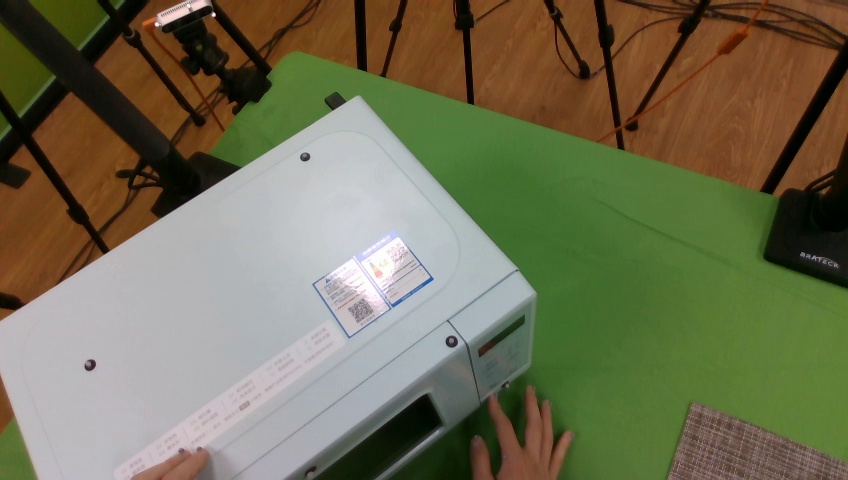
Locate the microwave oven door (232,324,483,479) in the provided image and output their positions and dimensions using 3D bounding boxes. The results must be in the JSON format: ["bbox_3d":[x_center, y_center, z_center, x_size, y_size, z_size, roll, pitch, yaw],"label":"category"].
[{"bbox_3d":[-0.099,0.228,0.592,0.356,0.246,0.039,-35,63,-10],"label":"microwave oven door"}]

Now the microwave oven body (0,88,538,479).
[{"bbox_3d":[-0.148,0.107,0.667,0.441,0.262,0.323,-36,64,-9],"label":"microwave oven body"}]

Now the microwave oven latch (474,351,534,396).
[{"bbox_3d":[0.093,0.151,0.719,0.079,0.030,0.030,-34,64,-8],"label":"microwave oven latch"}]
